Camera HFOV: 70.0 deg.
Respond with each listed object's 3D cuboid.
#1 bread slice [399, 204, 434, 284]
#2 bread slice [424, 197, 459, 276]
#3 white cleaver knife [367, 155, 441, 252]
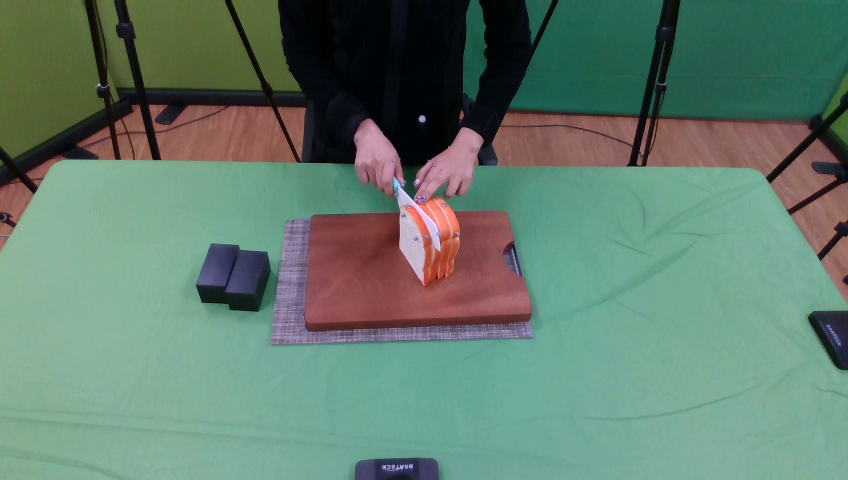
[{"bbox_3d":[-0.015,-0.001,1.082,0.018,0.135,0.106,-24,48,-17],"label":"bread slice"},{"bbox_3d":[0.030,-0.012,1.098,0.019,0.132,0.104,-16,51,-25],"label":"bread slice"},{"bbox_3d":[-0.042,-0.071,1.094,0.021,0.066,0.284,-17,40,-20],"label":"white cleaver knife"}]
